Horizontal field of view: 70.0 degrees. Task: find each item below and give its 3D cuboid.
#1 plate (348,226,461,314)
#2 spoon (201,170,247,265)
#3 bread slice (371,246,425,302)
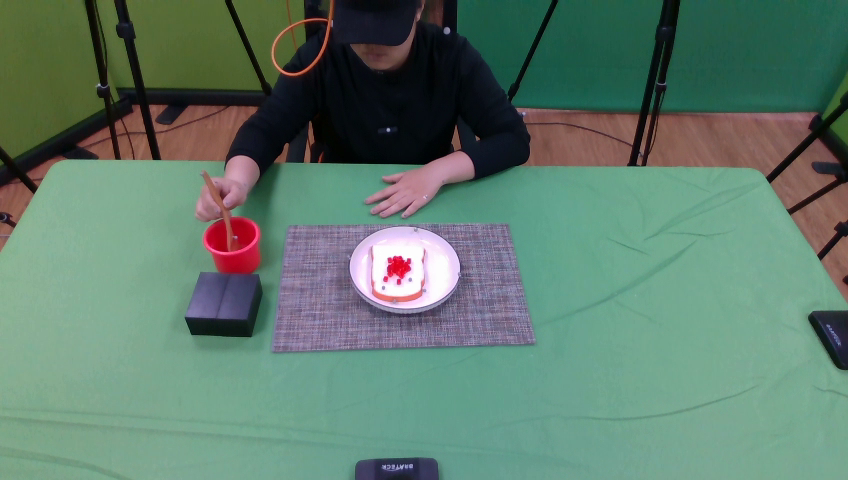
[{"bbox_3d":[-0.035,0.058,1.123,0.209,0.038,0.208,2,46,-2],"label":"plate"},{"bbox_3d":[-0.355,-0.038,1.082,0.021,0.194,0.041,-3,30,12],"label":"spoon"},{"bbox_3d":[-0.048,0.060,1.124,0.105,0.019,0.130,0,45,-3],"label":"bread slice"}]
